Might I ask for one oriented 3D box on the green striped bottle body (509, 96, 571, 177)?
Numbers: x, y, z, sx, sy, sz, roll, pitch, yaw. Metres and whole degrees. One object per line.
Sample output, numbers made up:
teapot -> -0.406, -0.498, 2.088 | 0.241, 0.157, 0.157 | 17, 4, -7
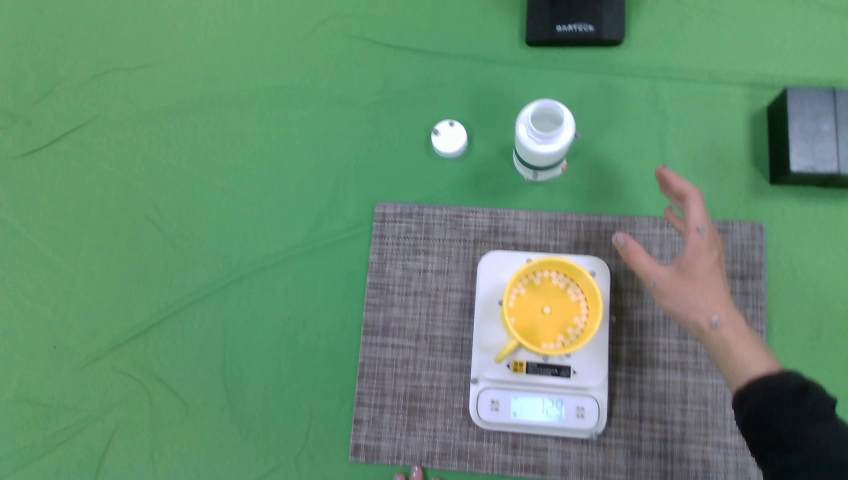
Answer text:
green striped bottle body -> 0.128, -0.117, 0.676 | 0.063, 0.120, 0.063 | -1, 78, 6

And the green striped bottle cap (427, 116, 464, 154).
green striped bottle cap -> 0.026, -0.129, 0.743 | 0.044, 0.020, 0.044 | -1, 83, 5

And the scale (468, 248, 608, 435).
scale -> 0.127, 0.110, 0.674 | 0.148, 0.032, 0.200 | 3, 80, 7

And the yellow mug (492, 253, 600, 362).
yellow mug -> 0.118, 0.079, 0.632 | 0.099, 0.064, 0.131 | 43, 87, 12
